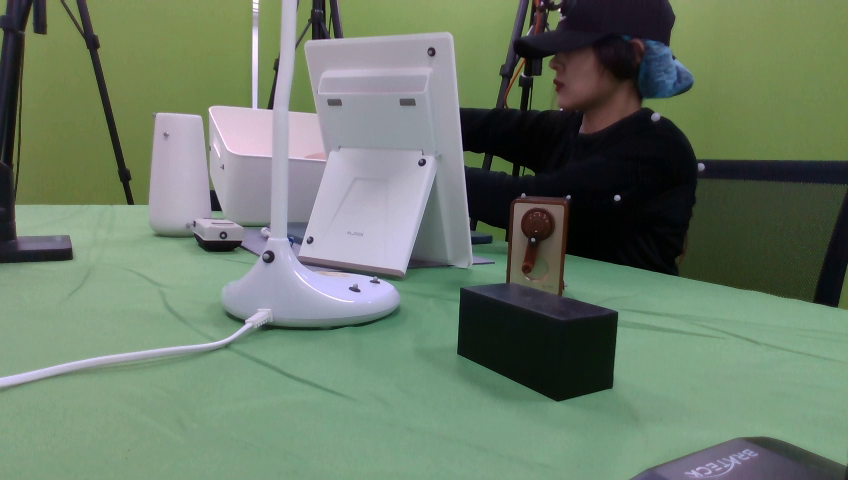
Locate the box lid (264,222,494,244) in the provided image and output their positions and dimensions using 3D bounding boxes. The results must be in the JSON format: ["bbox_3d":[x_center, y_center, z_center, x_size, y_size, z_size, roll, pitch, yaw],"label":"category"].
[{"bbox_3d":[-0.081,-0.013,1.117,0.373,0.015,0.262,-2,9,-31],"label":"box lid"}]

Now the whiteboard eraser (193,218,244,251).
[{"bbox_3d":[-0.307,-0.009,0.900,0.056,0.042,0.112,-4,10,-28],"label":"whiteboard eraser"}]

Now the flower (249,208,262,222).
[{"bbox_3d":[-0.247,-0.077,1.307,0.038,0.044,0.363,46,28,16],"label":"flower"}]

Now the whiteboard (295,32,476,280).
[{"bbox_3d":[-0.076,-0.084,0.747,0.216,0.305,0.144,7,28,29],"label":"whiteboard"}]

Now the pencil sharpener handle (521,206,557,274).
[{"bbox_3d":[0.112,0.001,0.611,0.036,0.067,0.031,13,10,11],"label":"pencil sharpener handle"}]

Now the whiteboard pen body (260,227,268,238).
[{"bbox_3d":[-0.239,-0.005,0.964,0.017,0.017,0.140,-2,9,-28],"label":"whiteboard pen body"}]

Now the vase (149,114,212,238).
[{"bbox_3d":[-0.405,-0.106,1.006,0.098,0.200,0.098,2,6,0],"label":"vase"}]

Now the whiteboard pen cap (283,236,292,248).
[{"bbox_3d":[-0.211,0.003,0.913,0.018,0.018,0.033,-2,6,-28],"label":"whiteboard pen cap"}]

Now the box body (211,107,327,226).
[{"bbox_3d":[-0.254,-0.153,1.284,0.366,0.160,0.253,-2,32,-28],"label":"box body"}]

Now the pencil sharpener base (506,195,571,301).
[{"bbox_3d":[0.126,0.007,0.662,0.061,0.107,0.077,4,8,13],"label":"pencil sharpener base"}]

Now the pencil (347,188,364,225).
[{"bbox_3d":[-0.150,-0.080,1.352,0.012,0.012,0.194,3,28,3],"label":"pencil"}]

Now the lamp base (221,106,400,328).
[{"bbox_3d":[-0.101,-0.023,0.531,0.160,0.180,0.179,4,10,10],"label":"lamp base"}]
